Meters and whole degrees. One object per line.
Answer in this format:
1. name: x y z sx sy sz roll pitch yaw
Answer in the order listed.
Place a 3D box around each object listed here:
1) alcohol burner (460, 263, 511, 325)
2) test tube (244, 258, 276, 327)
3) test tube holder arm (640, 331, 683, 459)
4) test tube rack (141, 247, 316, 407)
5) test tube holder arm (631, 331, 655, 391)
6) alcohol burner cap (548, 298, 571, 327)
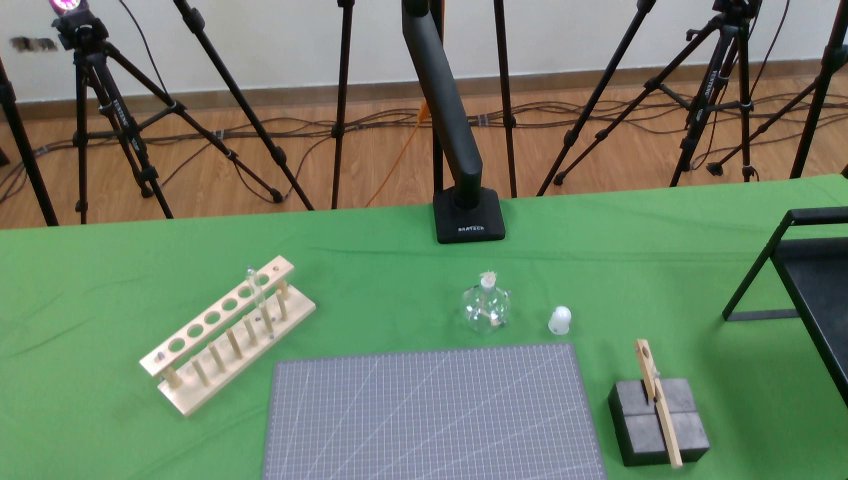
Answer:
1. alcohol burner: 0.094 0.075 0.911 0.078 0.120 0.077 1 50 -1
2. test tube: -0.234 0.077 0.868 0.017 0.151 0.017 0 49 1
3. test tube holder arm: 0.313 0.202 0.809 0.013 0.015 0.176 1 52 -9
4. test tube rack: -0.277 0.122 0.890 0.066 0.086 0.242 34 59 25
5. test tube holder arm: 0.304 0.166 0.835 0.010 0.015 0.087 2 52 -8
6. alcohol burner cap: 0.210 0.109 0.930 0.034 0.048 0.033 0 51 0
